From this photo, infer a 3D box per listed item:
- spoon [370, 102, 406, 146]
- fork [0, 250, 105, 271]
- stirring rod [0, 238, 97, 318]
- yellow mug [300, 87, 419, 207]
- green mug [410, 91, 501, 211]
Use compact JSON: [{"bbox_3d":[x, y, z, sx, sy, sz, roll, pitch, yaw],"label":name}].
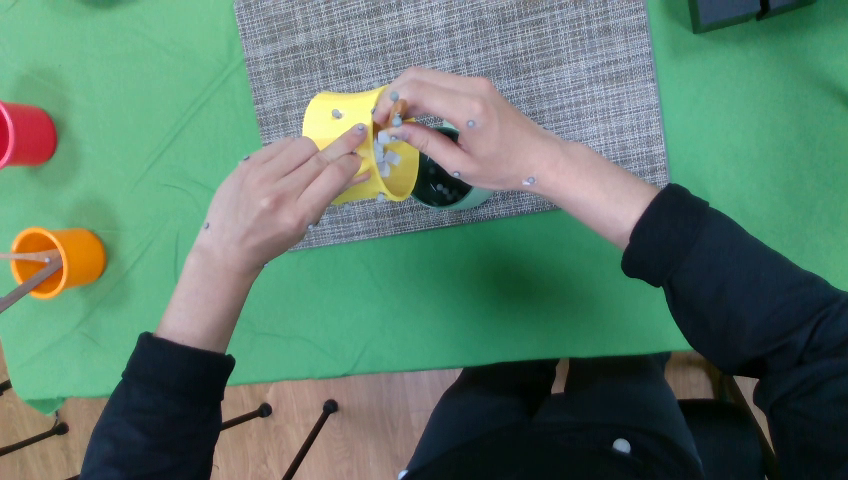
[{"bbox_3d":[-0.031,-0.090,0.470,0.022,0.192,0.041,25,90,-15],"label":"spoon"},{"bbox_3d":[-0.526,0.025,0.774,0.208,0.018,0.028,2,97,-29],"label":"fork"},{"bbox_3d":[-0.498,0.057,0.777,0.014,0.006,0.176,41,64,6],"label":"stirring rod"},{"bbox_3d":[-0.058,-0.073,0.521,0.064,0.130,0.101,-1,118,23],"label":"yellow mug"},{"bbox_3d":[0.030,-0.090,0.624,0.092,0.105,0.125,8,99,15],"label":"green mug"}]
